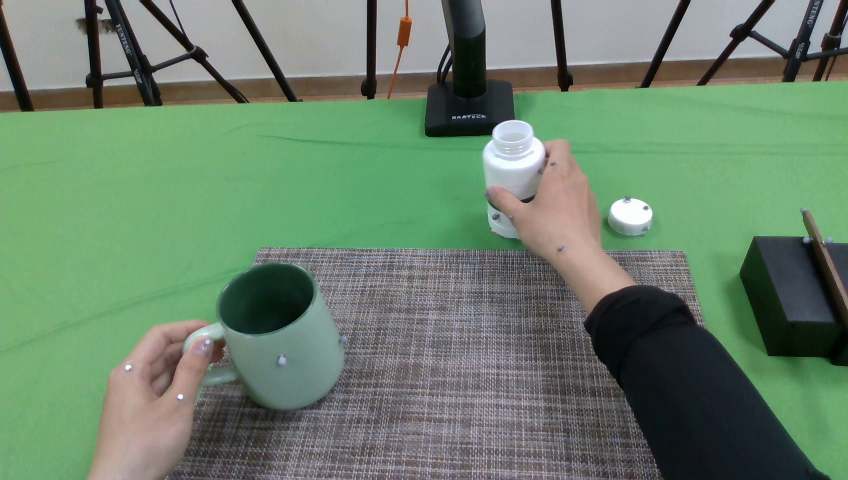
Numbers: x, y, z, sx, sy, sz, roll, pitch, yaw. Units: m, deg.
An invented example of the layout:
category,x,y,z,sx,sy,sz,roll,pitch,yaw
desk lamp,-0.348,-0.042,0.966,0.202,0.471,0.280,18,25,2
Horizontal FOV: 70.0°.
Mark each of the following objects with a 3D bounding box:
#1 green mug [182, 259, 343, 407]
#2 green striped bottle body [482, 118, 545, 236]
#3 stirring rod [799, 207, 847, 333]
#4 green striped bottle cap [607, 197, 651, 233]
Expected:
category,x,y,z,sx,sy,sz,roll,pitch,yaw
green mug,-0.136,0.085,0.509,0.125,0.106,0.091,-19,46,-12
green striped bottle body,0.093,-0.066,0.631,0.063,0.120,0.062,-5,45,5
stirring rod,0.343,0.033,0.508,0.006,0.014,0.174,0,44,12
green striped bottle cap,0.221,-0.027,0.653,0.044,0.020,0.044,-3,40,3
